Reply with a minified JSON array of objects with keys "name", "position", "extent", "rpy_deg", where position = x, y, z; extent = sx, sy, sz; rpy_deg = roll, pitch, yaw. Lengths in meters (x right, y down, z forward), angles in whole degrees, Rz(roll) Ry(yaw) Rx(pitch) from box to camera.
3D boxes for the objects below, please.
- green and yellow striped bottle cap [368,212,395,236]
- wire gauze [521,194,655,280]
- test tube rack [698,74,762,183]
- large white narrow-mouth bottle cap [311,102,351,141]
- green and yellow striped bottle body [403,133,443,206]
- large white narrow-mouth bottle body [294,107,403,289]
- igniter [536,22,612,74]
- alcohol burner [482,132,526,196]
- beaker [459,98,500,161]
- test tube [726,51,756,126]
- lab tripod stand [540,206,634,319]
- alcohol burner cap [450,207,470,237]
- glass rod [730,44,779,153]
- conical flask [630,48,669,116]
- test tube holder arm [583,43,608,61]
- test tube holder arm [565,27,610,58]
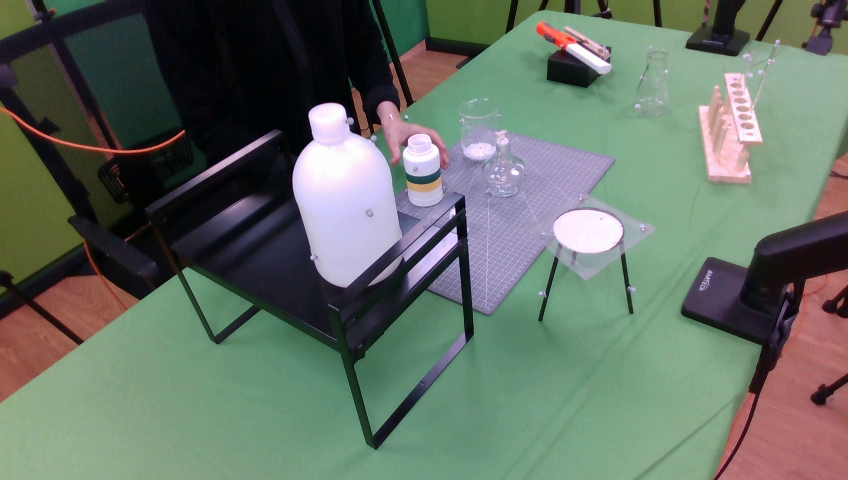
[{"name":"green and yellow striped bottle cap","position":[-0.071,-0.028,1.021],"extent":[0.045,0.020,0.045],"rpy_deg":[-4,39,4]},{"name":"wire gauze","position":[0.207,-0.012,0.772],"extent":[0.122,0.011,0.124],"rpy_deg":[-28,44,-20]},{"name":"test tube rack","position":[0.547,-0.208,1.095],"extent":[0.066,0.085,0.242],"rpy_deg":[5,42,15]},{"name":"large white narrow-mouth bottle cap","position":[-0.089,-0.113,0.579],"extent":[0.038,0.024,0.037],"rpy_deg":[-4,39,3]},{"name":"green and yellow striped bottle body","position":[-0.002,-0.123,1.041],"extent":[0.063,0.120,0.063],"rpy_deg":[-4,41,4]},{"name":"large white narrow-mouth bottle body","position":[-0.082,-0.047,0.634],"extent":[0.102,0.195,0.101],"rpy_deg":[-4,39,4]},{"name":"igniter","position":[0.330,-0.439,1.366],"extent":[0.057,0.025,0.274],"rpy_deg":[-11,41,-20]},{"name":"alcohol burner","position":[0.137,-0.136,1.042],"extent":[0.078,0.119,0.077],"rpy_deg":[-4,43,4]},{"name":"beaker","position":[0.104,-0.208,1.142],"extent":[0.074,0.101,0.083],"rpy_deg":[-20,41,-15]},{"name":"test tube","position":[0.568,-0.268,1.086],"extent":[0.017,0.151,0.017],"rpy_deg":[-4,46,4]},{"name":"lab tripod stand","position":[0.218,0.034,0.821],"extent":[0.148,0.132,0.147],"rpy_deg":[-4,42,4]},{"name":"alcohol burner cap","position":[0.057,-0.032,0.987],"extent":[0.034,0.048,0.033],"rpy_deg":[-4,41,4]},{"name":"glass rod","position":[0.555,-0.234,1.020],"extent":[0.008,0.200,0.008],"rpy_deg":[2,40,-1]},{"name":"conical flask","position":[0.456,-0.317,1.205],"extent":[0.075,0.122,0.075],"rpy_deg":[-4,41,4]},{"name":"test tube holder arm","position":[0.379,-0.420,1.341],"extent":[0.010,0.015,0.087],"rpy_deg":[-39,41,10]},{"name":"test tube holder arm","position":[0.369,-0.450,1.373],"extent":[0.013,0.015,0.177],"rpy_deg":[-39,41,10]}]
